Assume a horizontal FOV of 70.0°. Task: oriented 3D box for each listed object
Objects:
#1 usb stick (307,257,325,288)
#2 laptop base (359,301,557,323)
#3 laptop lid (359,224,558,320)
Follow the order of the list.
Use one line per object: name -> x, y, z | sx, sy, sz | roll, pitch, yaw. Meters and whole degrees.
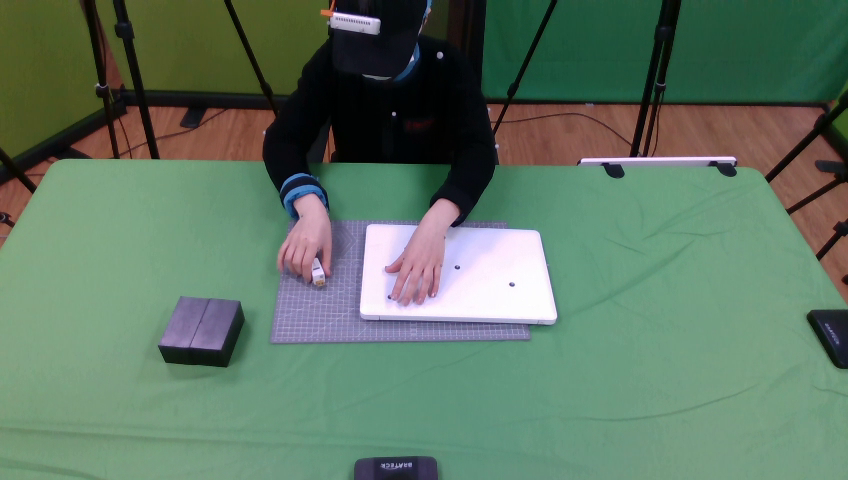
usb stick -> -0.198, 0.062, 1.116 | 0.021, 0.027, 0.059 | -15, 53, -17
laptop base -> 0.061, 0.063, 1.145 | 0.354, 0.023, 0.234 | 2, 43, -3
laptop lid -> 0.062, 0.053, 1.138 | 0.357, 0.013, 0.240 | 3, 44, -2
